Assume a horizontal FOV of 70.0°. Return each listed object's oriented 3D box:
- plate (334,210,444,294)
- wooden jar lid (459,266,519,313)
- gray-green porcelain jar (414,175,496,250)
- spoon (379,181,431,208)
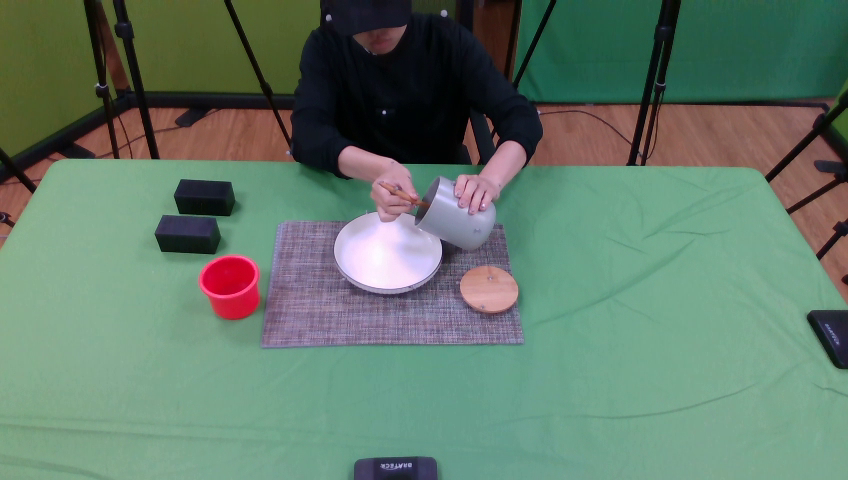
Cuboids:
[{"bbox_3d":[-0.066,0.026,1.150,0.208,0.039,0.206,2,46,-2],"label":"plate"},{"bbox_3d":[0.118,0.093,1.111,0.108,0.021,0.107,1,47,-1],"label":"wooden jar lid"},{"bbox_3d":[0.060,-0.046,1.114,0.127,0.106,0.105,24,45,-12],"label":"gray-green porcelain jar"},{"bbox_3d":[-0.001,-0.068,1.095,0.195,0.021,0.041,17,21,-33],"label":"spoon"}]
